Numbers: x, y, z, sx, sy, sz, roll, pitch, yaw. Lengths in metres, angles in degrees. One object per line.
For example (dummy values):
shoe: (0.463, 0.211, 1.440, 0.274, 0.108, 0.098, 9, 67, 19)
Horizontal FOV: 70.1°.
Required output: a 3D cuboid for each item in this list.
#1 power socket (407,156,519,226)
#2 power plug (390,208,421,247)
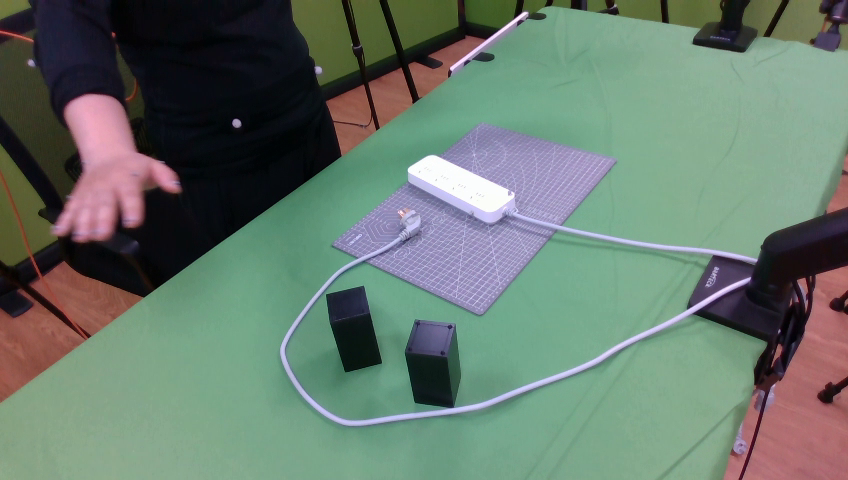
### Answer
power socket: (0.062, -0.089, 1.053, 0.072, 0.033, 0.225, -36, 49, -29)
power plug: (-0.036, -0.026, 0.985, 0.073, 0.035, 0.052, -23, 54, -34)
